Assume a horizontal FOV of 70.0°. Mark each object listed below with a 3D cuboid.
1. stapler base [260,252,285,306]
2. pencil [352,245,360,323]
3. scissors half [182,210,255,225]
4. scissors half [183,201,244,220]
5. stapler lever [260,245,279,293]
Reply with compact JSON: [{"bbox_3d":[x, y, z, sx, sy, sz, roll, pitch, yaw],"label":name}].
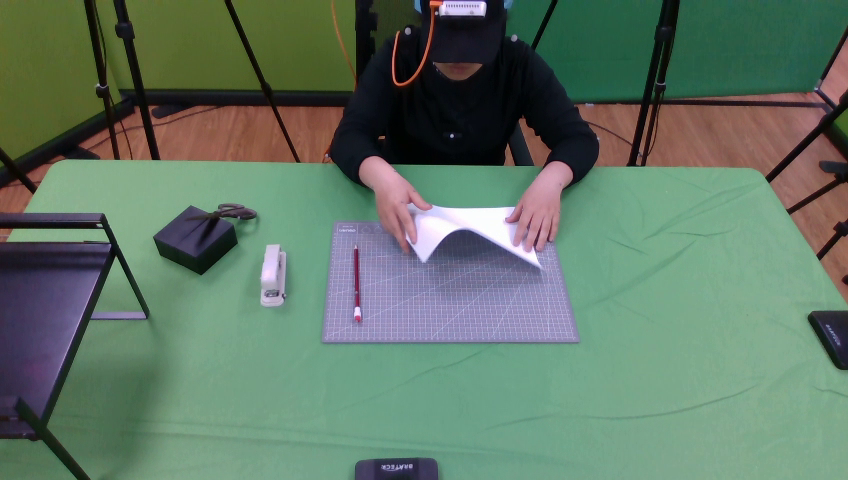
[{"bbox_3d":[-0.279,0.064,1.113,0.041,0.024,0.129,-1,44,-9],"label":"stapler base"},{"bbox_3d":[-0.127,0.076,1.120,0.012,0.012,0.192,-2,44,-7],"label":"pencil"},{"bbox_3d":[-0.389,-0.042,1.158,0.040,0.013,0.175,41,21,22],"label":"scissors half"},{"bbox_3d":[-0.405,-0.054,1.163,0.040,0.013,0.175,29,18,7],"label":"scissors half"},{"bbox_3d":[-0.279,0.045,1.096,0.027,0.040,0.117,-1,44,-9],"label":"stapler lever"}]
